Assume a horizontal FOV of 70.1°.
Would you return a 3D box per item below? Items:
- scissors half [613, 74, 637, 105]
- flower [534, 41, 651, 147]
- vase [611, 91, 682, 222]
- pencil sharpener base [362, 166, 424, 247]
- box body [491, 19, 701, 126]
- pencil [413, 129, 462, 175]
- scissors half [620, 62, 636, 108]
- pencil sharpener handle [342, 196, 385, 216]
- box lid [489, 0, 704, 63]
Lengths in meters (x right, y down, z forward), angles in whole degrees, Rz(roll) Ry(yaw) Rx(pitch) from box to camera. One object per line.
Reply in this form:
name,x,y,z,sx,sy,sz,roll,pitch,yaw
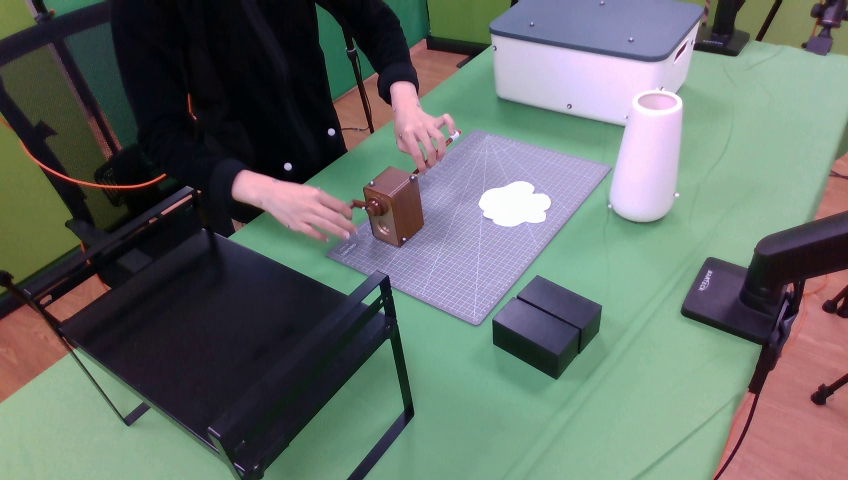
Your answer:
scissors half,0.427,-0.330,1.306,0.013,0.040,0.174,31,31,-14
flower,0.364,-0.319,1.318,0.038,0.044,0.359,-4,48,-50
vase,0.348,-0.125,0.935,0.098,0.201,0.097,-3,40,3
pencil sharpener base,-0.049,-0.052,0.973,0.061,0.107,0.077,22,49,30
box body,0.352,-0.384,1.268,0.361,0.161,0.255,21,48,29
pencil,0.010,-0.136,1.018,0.012,0.012,0.194,20,50,28
scissors half,0.434,-0.340,1.298,0.013,0.040,0.174,25,42,-11
pencil sharpener handle,-0.095,-0.047,0.935,0.067,0.036,0.031,14,44,37
box lid,0.345,-0.441,1.217,0.369,0.015,0.264,21,49,29
